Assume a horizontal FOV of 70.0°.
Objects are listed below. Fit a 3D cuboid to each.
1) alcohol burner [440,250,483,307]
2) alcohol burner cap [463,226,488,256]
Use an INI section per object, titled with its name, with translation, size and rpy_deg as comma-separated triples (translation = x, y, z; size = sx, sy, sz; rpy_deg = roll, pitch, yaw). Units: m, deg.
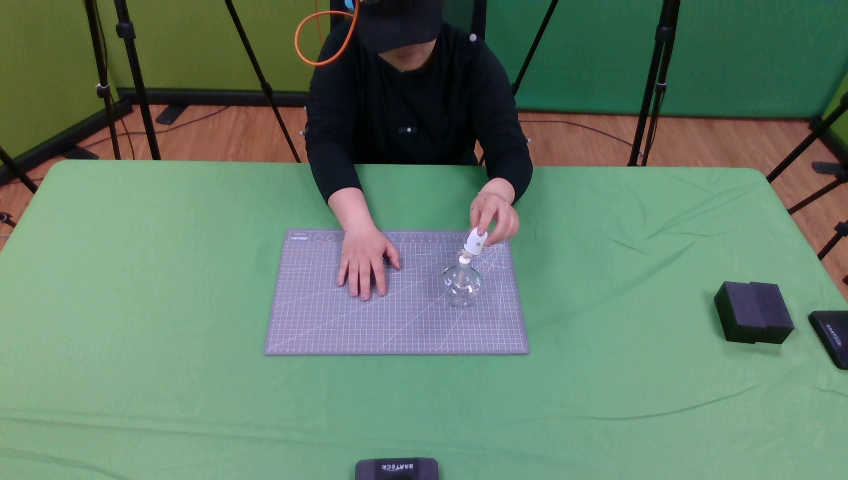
[alcohol burner]
translation = 0.068, 0.064, 1.076
size = 0.078, 0.120, 0.077
rpy_deg = 1, 45, -1
[alcohol burner cap]
translation = 0.088, -0.001, 1.016
size = 0.034, 0.048, 0.033
rpy_deg = 14, 36, -10
